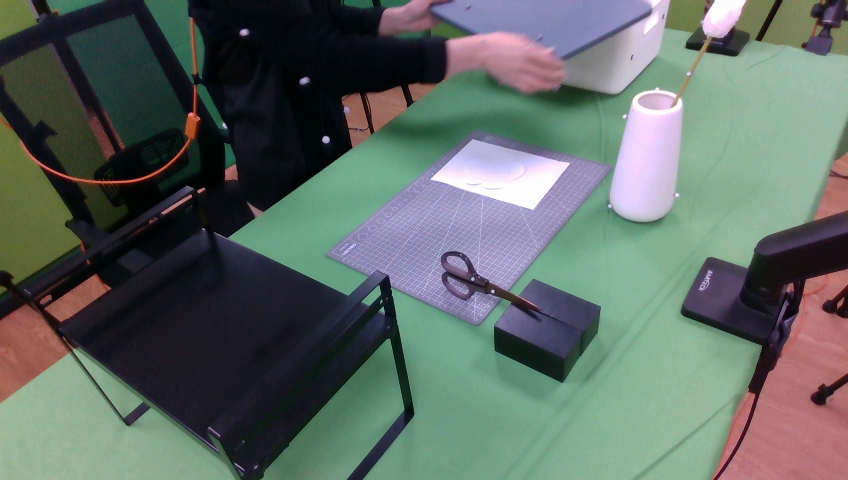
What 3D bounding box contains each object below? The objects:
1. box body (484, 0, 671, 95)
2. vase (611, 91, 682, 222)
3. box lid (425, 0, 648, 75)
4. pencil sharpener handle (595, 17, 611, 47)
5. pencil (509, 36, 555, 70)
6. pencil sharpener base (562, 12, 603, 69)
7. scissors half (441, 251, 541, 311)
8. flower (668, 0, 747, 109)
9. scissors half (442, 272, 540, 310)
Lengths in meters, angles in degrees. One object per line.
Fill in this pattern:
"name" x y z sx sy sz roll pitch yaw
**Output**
"box body" 0.339 -0.480 1.381 0.361 0.161 0.255 22 48 30
"vase" 0.348 -0.125 0.935 0.098 0.201 0.097 -3 40 3
"box lid" 0.196 -0.418 1.121 0.264 0.015 0.368 -31 46 -16
"pencil sharpener handle" 0.412 -0.477 1.381 0.031 0.068 0.035 -14 36 -9
"pencil" 0.263 -0.454 1.470 0.012 0.012 0.194 27 53 33
"pencil sharpener base" 0.363 -0.457 1.382 0.077 0.107 0.061 -14 41 -9
"scissors half" 0.087 0.056 0.824 0.173 0.040 0.013 29 44 36
"flower" 0.354 -0.187 0.879 0.038 0.362 0.044 30 48 14
"scissors half" 0.089 0.074 0.832 0.013 0.040 0.173 -24 23 -38
